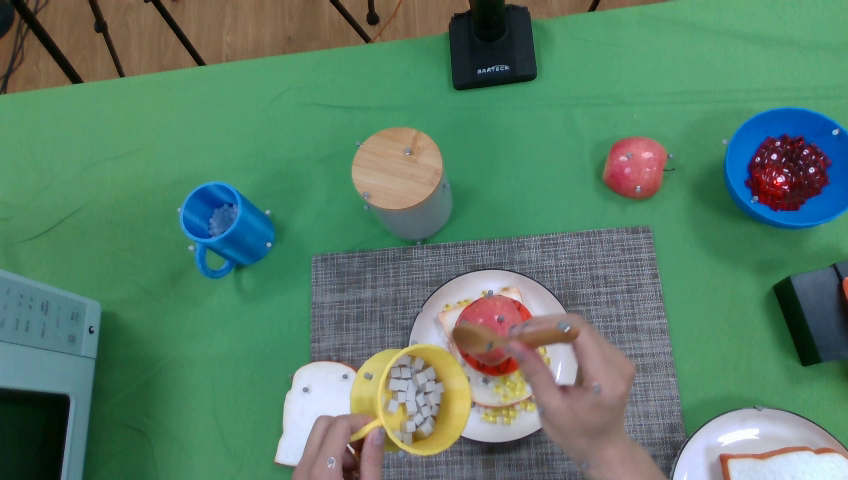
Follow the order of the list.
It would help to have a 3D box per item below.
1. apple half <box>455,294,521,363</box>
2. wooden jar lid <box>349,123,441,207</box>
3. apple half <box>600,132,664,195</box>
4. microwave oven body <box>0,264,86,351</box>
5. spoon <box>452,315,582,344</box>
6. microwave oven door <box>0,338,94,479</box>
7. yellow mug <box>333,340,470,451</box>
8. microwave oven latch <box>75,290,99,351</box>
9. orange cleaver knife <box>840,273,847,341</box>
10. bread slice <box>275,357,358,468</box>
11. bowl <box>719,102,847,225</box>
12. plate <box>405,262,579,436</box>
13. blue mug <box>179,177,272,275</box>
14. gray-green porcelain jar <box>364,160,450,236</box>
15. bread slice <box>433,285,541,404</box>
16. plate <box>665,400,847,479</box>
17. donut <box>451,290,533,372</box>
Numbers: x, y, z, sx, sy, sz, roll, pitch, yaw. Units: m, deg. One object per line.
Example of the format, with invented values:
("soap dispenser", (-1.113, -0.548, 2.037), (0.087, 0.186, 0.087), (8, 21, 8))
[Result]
("apple half", (0.072, 0.097, 0.683), (0.081, 0.033, 0.080), (-5, 68, 13))
("wooden jar lid", (-0.033, -0.086, 0.712), (0.108, 0.021, 0.107), (-2, 71, 6))
("apple half", (0.269, -0.105, 0.778), (0.074, 0.054, 0.080), (16, 77, 16))
("microwave oven body", (-0.613, 0.261, 0.688), (0.326, 0.262, 0.439), (-5, 73, 7))
("spoon", (0.069, 0.073, 0.484), (0.042, 0.193, 0.021), (37, 73, -10))
("microwave oven door", (-0.468, 0.288, 0.652), (0.039, 0.245, 0.353), (-5, 72, 7))
("yellow mug", (-0.026, 0.154, 0.575), (0.131, 0.064, 0.100), (-24, 90, -32))
("microwave oven latch", (-0.459, 0.108, 0.812), (0.030, 0.030, 0.078), (-1, 74, 8))
("orange cleaver knife", (0.492, 0.138, 0.655), (0.012, 0.077, 0.211), (-15, 93, -3))
("bread slice", (-0.130, 0.212, 0.759), (0.105, 0.019, 0.131), (3, 76, 8))
("bowl", (0.428, -0.081, 0.732), (0.151, 0.077, 0.150), (-2, 74, 8))
("plate", (0.081, 0.131, 0.739), (0.207, 0.039, 0.206), (-2, 73, 8))
("blue mug", (-0.266, -0.010, 0.802), (0.082, 0.106, 0.116), (15, 76, 13))
("gray-green porcelain jar", (-0.022, -0.068, 0.772), (0.106, 0.127, 0.105), (-2, 73, 8))
("bread slice", (0.084, 0.132, 0.745), (0.107, 0.018, 0.133), (-21, 68, -2))
("plate", (0.366, 0.281, 0.654), (0.209, 0.038, 0.208), (-2, 73, 8))
("donut", (0.081, 0.107, 0.717), (0.099, 0.048, 0.098), (-2, 74, 8))
